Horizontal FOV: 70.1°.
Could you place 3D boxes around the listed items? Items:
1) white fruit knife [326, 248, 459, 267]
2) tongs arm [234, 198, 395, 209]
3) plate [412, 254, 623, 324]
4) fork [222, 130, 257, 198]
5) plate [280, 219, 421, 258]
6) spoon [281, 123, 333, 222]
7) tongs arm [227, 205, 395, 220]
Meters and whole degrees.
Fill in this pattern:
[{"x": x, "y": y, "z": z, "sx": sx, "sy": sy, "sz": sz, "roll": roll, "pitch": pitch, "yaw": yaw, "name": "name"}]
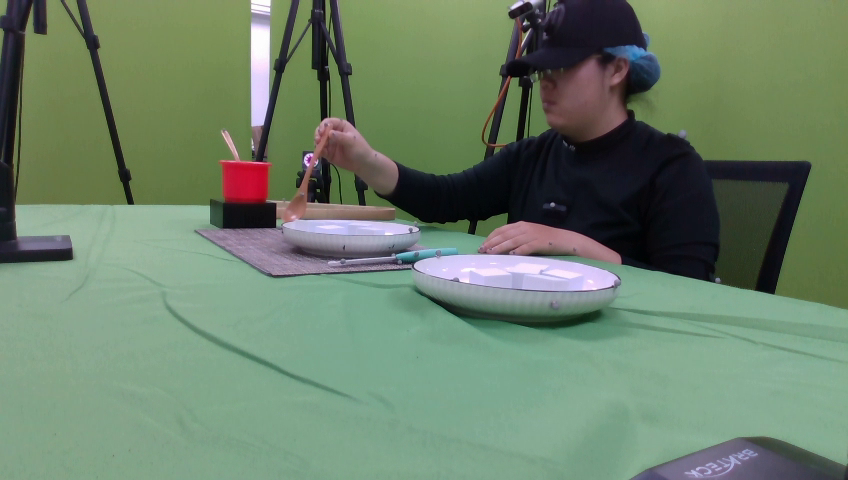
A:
[{"x": -0.034, "y": 0.025, "z": 0.807, "sx": 0.208, "sy": 0.016, "sz": 0.027, "roll": -4, "pitch": -19, "yaw": -34, "name": "white fruit knife"}, {"x": -0.263, "y": -0.076, "z": 1.460, "sx": 0.386, "sy": 0.026, "sz": 0.050, "roll": 3, "pitch": 8, "yaw": -8, "name": "tongs arm"}, {"x": 0.091, "y": 0.047, "z": 0.609, "sx": 0.209, "sy": 0.038, "sz": 0.209, "roll": 2, "pitch": 7, "yaw": 0, "name": "plate"}, {"x": -0.368, "y": -0.152, "z": 1.193, "sx": 0.028, "sy": 0.018, "sz": 0.206, "roll": -8, "pitch": 54, "yaw": -31, "name": "fork"}, {"x": -0.108, "y": -0.002, "z": 0.902, "sx": 0.208, "sy": 0.039, "sz": 0.207, "roll": 3, "pitch": 7, "yaw": 0, "name": "plate"}, {"x": -0.195, "y": -0.115, "z": 1.031, "sx": 0.041, "sy": 0.193, "sz": 0.022, "roll": 14, "pitch": -10, "yaw": 35, "name": "spoon"}, {"x": -0.247, "y": -0.062, "z": 1.382, "sx": 0.389, "sy": 0.028, "sz": 0.028, "roll": 0, "pitch": 5, "yaw": -21, "name": "tongs arm"}]
